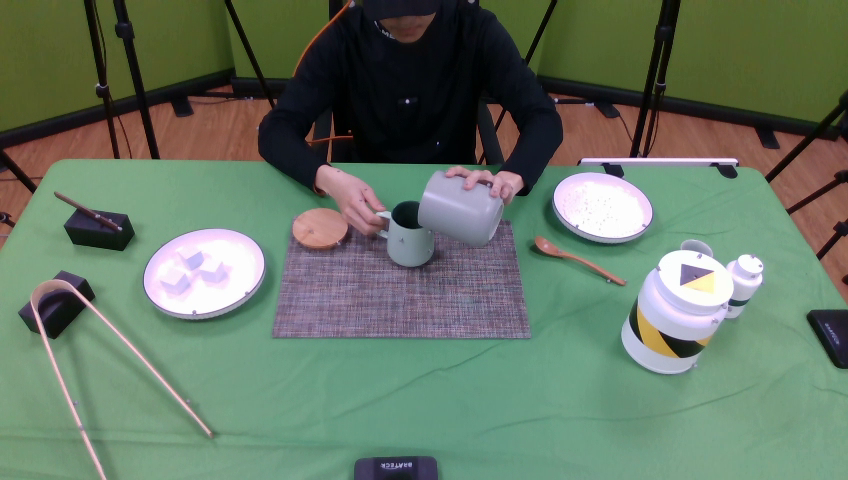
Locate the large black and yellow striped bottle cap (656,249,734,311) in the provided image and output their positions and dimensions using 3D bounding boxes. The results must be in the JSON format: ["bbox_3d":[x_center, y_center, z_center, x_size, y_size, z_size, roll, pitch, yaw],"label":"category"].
[{"bbox_3d":[0.419,0.061,0.938,0.115,0.019,0.114,2,47,-2],"label":"large black and yellow striped bottle cap"}]

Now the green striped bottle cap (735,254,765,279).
[{"bbox_3d":[0.566,0.046,1.051,0.044,0.020,0.044,0,45,0],"label":"green striped bottle cap"}]

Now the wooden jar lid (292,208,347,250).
[{"bbox_3d":[-0.205,-0.020,1.197,0.108,0.021,0.107,3,46,-3],"label":"wooden jar lid"}]

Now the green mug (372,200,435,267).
[{"bbox_3d":[-0.040,-0.016,1.146,0.125,0.105,0.092,17,48,12],"label":"green mug"}]

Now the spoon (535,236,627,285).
[{"bbox_3d":[0.303,0.040,1.178,0.193,0.022,0.041,26,34,20],"label":"spoon"}]

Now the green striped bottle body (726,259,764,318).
[{"bbox_3d":[0.563,0.081,1.089,0.063,0.120,0.063,2,46,-2],"label":"green striped bottle body"}]

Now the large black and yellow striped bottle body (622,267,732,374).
[{"bbox_3d":[0.415,0.119,0.997,0.131,0.185,0.130,2,46,-2],"label":"large black and yellow striped bottle body"}]

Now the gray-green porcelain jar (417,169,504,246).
[{"bbox_3d":[0.067,-0.054,1.045,0.126,0.106,0.105,20,48,15],"label":"gray-green porcelain jar"}]

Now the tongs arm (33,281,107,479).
[{"bbox_3d":[-0.517,0.214,0.909,0.051,0.026,0.383,-29,63,-27],"label":"tongs arm"}]

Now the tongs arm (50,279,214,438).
[{"bbox_3d":[-0.459,0.178,0.949,0.386,0.028,0.028,37,60,17],"label":"tongs arm"}]

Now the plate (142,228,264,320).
[{"bbox_3d":[-0.394,0.064,1.095,0.208,0.039,0.206,2,46,-2],"label":"plate"}]

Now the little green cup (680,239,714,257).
[{"bbox_3d":[0.530,0.033,1.189,0.061,0.039,0.061,2,47,-2],"label":"little green cup"}]

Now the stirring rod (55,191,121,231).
[{"bbox_3d":[-0.632,-0.055,1.138,0.175,0.014,0.006,24,50,19],"label":"stirring rod"}]

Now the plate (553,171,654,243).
[{"bbox_3d":[0.373,-0.066,1.275,0.209,0.038,0.208,2,46,-2],"label":"plate"}]
